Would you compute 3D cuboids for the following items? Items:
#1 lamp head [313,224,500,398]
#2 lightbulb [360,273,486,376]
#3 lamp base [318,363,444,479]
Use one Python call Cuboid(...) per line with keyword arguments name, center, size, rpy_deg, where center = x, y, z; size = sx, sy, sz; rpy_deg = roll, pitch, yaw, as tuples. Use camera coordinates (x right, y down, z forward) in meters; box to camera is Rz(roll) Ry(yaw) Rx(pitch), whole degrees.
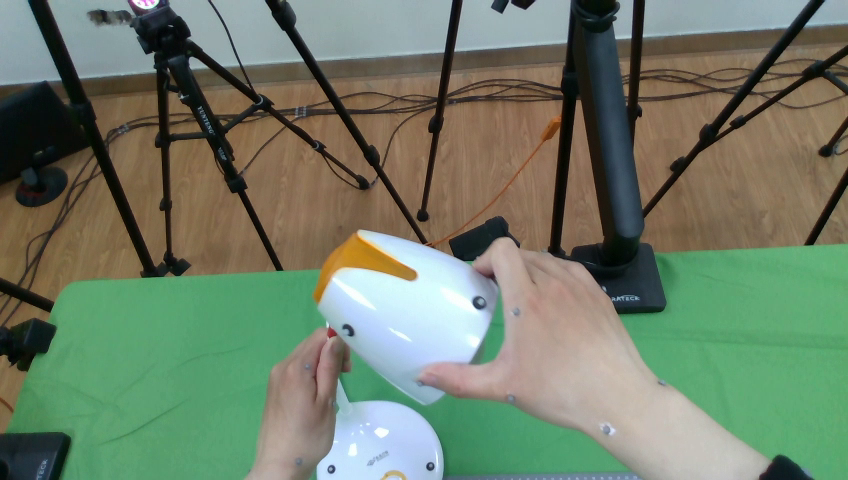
Cuboid(name="lamp head", center=(-0.022, 0.045, 0.462), size=(0.123, 0.113, 0.112), rpy_deg=(29, 61, -5))
Cuboid(name="lightbulb", center=(-0.002, 0.060, 0.460), size=(0.108, 0.059, 0.059), rpy_deg=(35, 63, -7))
Cuboid(name="lamp base", center=(-0.070, 0.225, 0.711), size=(0.160, 0.182, 0.177), rpy_deg=(-37, 58, -18))
